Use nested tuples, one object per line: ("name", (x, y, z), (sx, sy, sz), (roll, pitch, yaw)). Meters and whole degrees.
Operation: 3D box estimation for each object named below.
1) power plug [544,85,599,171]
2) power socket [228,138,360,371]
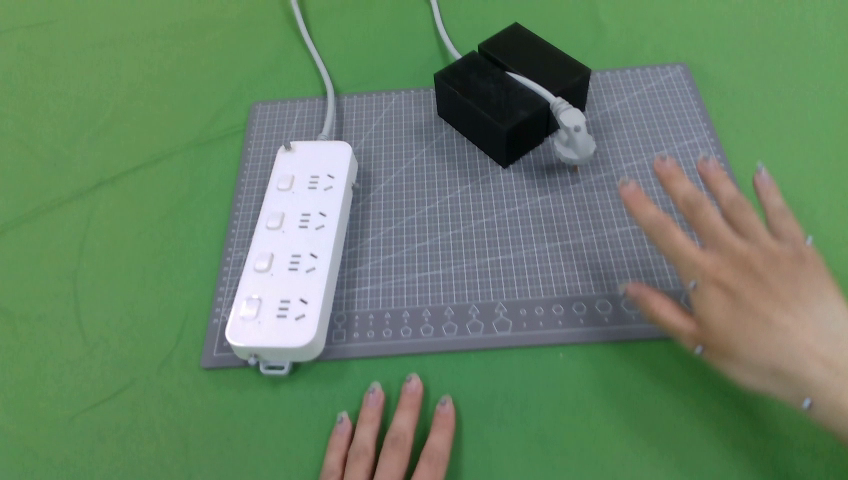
("power plug", (0.130, -0.098, 0.537), (0.035, 0.053, 0.072), (-9, 57, -5))
("power socket", (-0.104, -0.001, 0.511), (0.072, 0.033, 0.224), (2, 55, 6))
